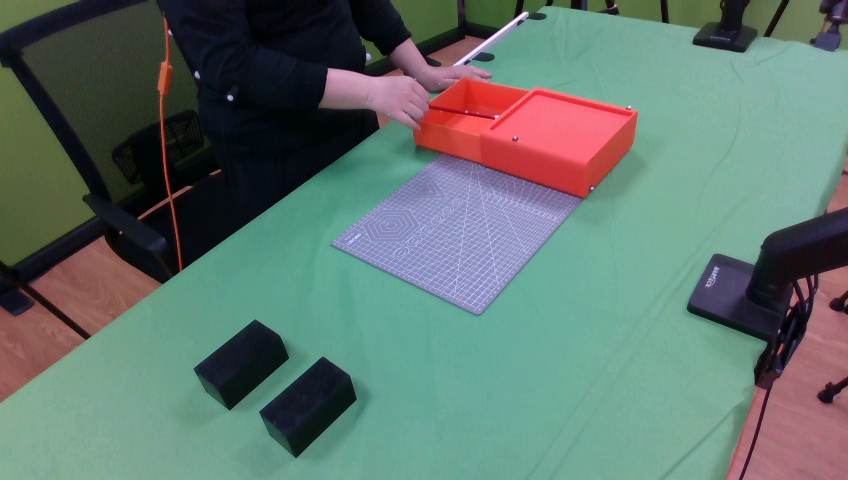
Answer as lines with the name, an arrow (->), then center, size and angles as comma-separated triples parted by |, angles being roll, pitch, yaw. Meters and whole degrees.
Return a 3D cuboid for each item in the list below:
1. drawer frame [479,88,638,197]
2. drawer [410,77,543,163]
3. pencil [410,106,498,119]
drawer frame -> 0.243, -0.184, 1.100 | 0.212, 0.083, 0.202 | 23, 48, 30
drawer -> 0.113, -0.236, 1.186 | 0.210, 0.073, 0.195 | 21, 46, 32
pencil -> 0.069, -0.238, 1.136 | 0.195, 0.012, 0.012 | 5, 39, -9
